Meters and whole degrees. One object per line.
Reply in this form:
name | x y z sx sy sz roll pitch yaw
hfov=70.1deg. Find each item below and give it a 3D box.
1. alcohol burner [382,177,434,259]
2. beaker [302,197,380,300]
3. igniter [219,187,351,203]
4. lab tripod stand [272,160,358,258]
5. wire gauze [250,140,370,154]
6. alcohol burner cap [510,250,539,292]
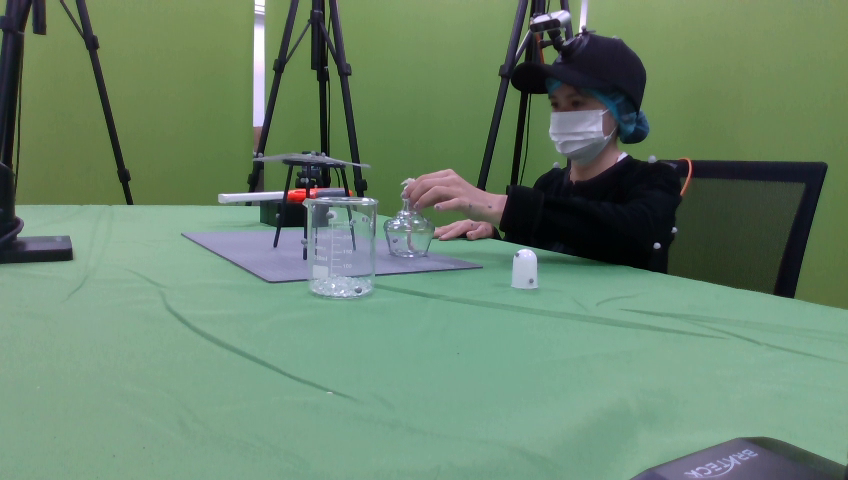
alcohol burner | -0.023 -0.033 0.891 0.078 0.119 0.078 1 6 0
beaker | -0.089 0.007 0.625 0.084 0.100 0.074 4 7 16
igniter | -0.280 -0.092 1.254 0.278 0.025 0.057 -6 11 -34
lab tripod stand | -0.159 -0.048 0.876 0.148 0.131 0.148 3 5 0
wire gauze | -0.163 -0.131 0.867 0.124 0.011 0.122 -1 8 32
alcohol burner cap | 0.118 0.036 0.704 0.034 0.048 0.034 0 6 0
